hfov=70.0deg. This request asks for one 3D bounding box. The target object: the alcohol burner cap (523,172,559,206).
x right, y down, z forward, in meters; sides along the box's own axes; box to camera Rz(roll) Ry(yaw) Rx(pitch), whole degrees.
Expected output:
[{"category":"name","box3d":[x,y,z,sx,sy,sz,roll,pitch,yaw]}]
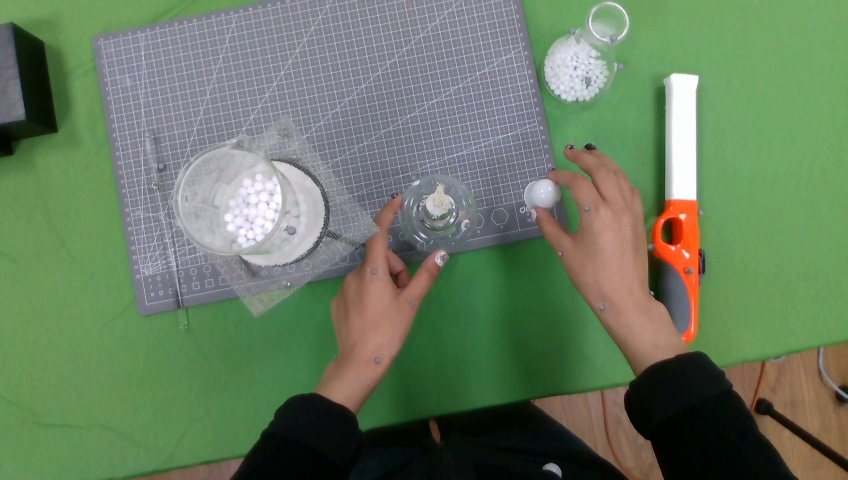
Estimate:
[{"category":"alcohol burner cap","box3d":[0.112,-0.050,0.574,0.034,0.048,0.034,0,90,1]}]

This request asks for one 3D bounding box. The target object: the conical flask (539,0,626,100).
[{"category":"conical flask","box3d":[0.155,-0.186,0.576,0.075,0.122,0.075,0,86,1]}]

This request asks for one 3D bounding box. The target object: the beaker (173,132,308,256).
[{"category":"beaker","box3d":[-0.128,-0.029,0.448,0.074,0.100,0.084,10,87,0]}]

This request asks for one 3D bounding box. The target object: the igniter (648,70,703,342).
[{"category":"igniter","box3d":[0.256,-0.035,0.616,0.057,0.025,0.276,2,87,-10]}]

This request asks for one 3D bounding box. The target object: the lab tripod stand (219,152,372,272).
[{"category":"lab tripod stand","box3d":[-0.125,-0.019,0.561,0.148,0.131,0.148,0,89,0]}]

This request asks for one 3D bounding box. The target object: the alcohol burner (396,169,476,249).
[{"category":"alcohol burner","box3d":[0.011,-0.032,0.571,0.078,0.119,0.077,0,86,3]}]

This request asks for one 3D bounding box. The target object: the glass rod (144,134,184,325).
[{"category":"glass rod","box3d":[-0.267,-0.011,0.623,0.008,0.008,0.199,-11,90,-1]}]

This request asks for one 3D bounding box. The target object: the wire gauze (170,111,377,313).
[{"category":"wire gauze","box3d":[-0.124,-0.023,0.495,0.125,0.011,0.121,-37,90,-3]}]
